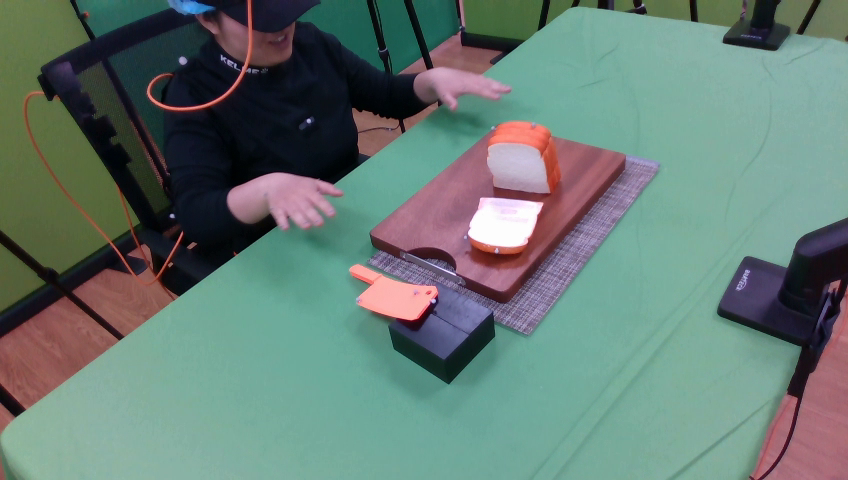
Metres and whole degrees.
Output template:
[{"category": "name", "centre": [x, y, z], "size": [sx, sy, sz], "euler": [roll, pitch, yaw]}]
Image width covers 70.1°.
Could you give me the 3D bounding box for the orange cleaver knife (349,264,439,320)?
[{"category": "orange cleaver knife", "centre": [-0.061, 0.073, 0.877], "size": [0.077, 0.012, 0.209], "euler": [-39, 32, -27]}]

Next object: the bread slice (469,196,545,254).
[{"category": "bread slice", "centre": [0.124, -0.024, 0.943], "size": [0.104, 0.019, 0.131], "euler": [8, 39, 18]}]

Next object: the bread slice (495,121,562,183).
[{"category": "bread slice", "centre": [0.170, -0.143, 0.997], "size": [0.106, 0.135, 0.018], "euler": [10, 60, 21]}]
